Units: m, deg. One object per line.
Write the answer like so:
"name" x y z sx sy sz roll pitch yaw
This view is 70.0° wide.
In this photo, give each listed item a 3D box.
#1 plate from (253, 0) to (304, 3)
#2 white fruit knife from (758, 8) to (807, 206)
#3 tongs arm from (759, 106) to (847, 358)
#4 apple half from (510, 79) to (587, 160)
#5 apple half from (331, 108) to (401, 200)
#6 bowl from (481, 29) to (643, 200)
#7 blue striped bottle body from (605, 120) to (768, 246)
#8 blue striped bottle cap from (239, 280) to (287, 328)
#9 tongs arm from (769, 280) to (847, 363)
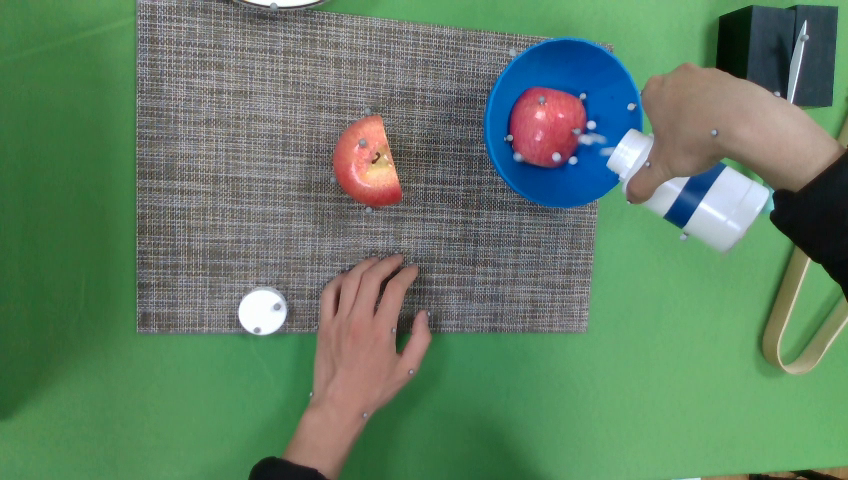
"plate" -0.135 -0.308 0.518 0.208 0.039 0.208 -2 99 -12
"white fruit knife" 0.370 -0.129 0.626 0.016 0.027 0.209 -1 116 6
"tongs arm" 0.458 -0.052 0.687 0.028 0.027 0.387 18 95 -16
"apple half" 0.121 -0.113 0.571 0.081 0.032 0.081 -1 97 -11
"apple half" -0.056 -0.074 0.547 0.053 0.074 0.081 -17 104 -6
"bowl" 0.119 -0.115 0.576 0.152 0.076 0.151 -2 99 -11
"blue striped bottle body" 0.213 -0.053 0.506 0.120 0.063 0.063 36 89 14
"blue striped bottle cap" -0.153 0.061 0.575 0.045 0.020 0.044 -2 98 -13
"tongs arm" 0.530 -0.015 0.704 0.051 0.026 0.384 32 92 -13
